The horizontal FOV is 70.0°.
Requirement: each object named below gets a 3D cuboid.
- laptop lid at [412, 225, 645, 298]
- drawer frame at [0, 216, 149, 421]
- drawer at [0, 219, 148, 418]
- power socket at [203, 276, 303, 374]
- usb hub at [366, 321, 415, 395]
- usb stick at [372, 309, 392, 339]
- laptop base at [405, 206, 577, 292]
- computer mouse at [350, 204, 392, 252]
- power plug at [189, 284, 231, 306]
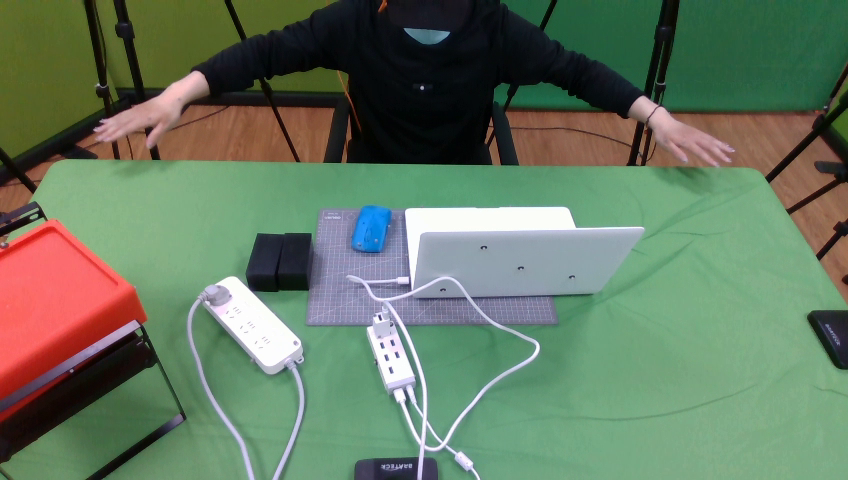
[{"bbox_3d":[0.161,0.042,1.012,0.357,0.242,0.013,0,59,-7],"label":"laptop lid"},{"bbox_3d":[-0.510,0.093,0.780,0.201,0.083,0.213,31,52,23],"label":"drawer frame"},{"bbox_3d":[-0.509,0.093,0.783,0.193,0.073,0.211,32,53,24],"label":"drawer"},{"bbox_3d":[-0.296,0.141,1.034,0.072,0.033,0.225,-35,58,-30],"label":"power socket"},{"bbox_3d":[-0.056,0.194,1.008,0.049,0.025,0.124,-13,49,-15],"label":"usb hub"},{"bbox_3d":[-0.070,0.145,1.008,0.027,0.059,0.021,-14,40,-25],"label":"usb stick"},{"bbox_3d":[0.143,0.018,1.196,0.355,0.023,0.234,-1,43,-6],"label":"laptop base"},{"bbox_3d":[-0.104,-0.027,1.202,0.063,0.041,0.116,11,51,4],"label":"computer mouse"},{"bbox_3d":[-0.367,0.100,1.037,0.072,0.053,0.035,-24,54,-27],"label":"power plug"}]
